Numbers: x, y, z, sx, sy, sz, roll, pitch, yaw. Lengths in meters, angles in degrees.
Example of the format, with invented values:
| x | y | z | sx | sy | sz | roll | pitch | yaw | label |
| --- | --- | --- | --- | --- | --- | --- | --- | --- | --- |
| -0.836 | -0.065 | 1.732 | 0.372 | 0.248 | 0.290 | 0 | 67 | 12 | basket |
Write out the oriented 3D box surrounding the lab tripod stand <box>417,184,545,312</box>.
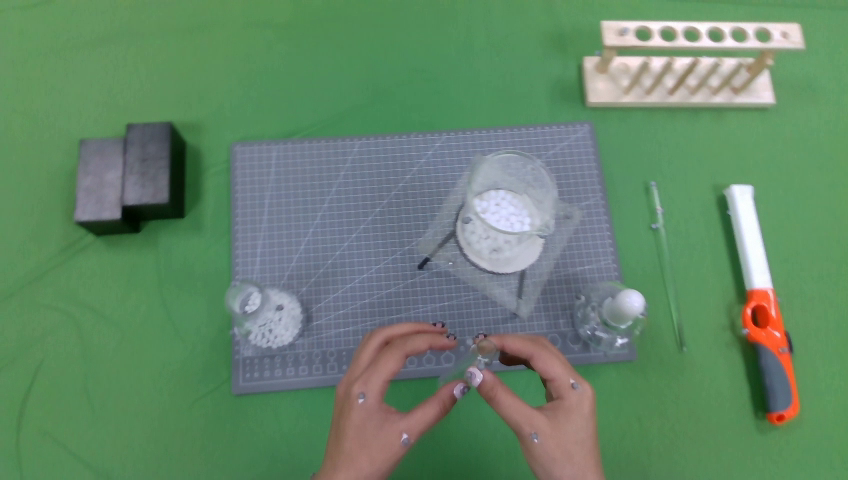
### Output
| x | y | z | sx | sy | sz | roll | pitch | yaw | label |
| --- | --- | --- | --- | --- | --- | --- | --- | --- | --- |
| 0.066 | 0.007 | 0.645 | 0.148 | 0.132 | 0.147 | 0 | 75 | -1 | lab tripod stand |

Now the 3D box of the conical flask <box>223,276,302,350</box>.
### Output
| x | y | z | sx | sy | sz | roll | pitch | yaw | label |
| --- | --- | --- | --- | --- | --- | --- | --- | --- | --- |
| -0.170 | 0.069 | 0.620 | 0.075 | 0.122 | 0.075 | 1 | 74 | -3 | conical flask |

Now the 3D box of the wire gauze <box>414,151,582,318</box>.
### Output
| x | y | z | sx | sy | sz | roll | pitch | yaw | label |
| --- | --- | --- | --- | --- | --- | --- | --- | --- | --- |
| 0.072 | -0.009 | 0.582 | 0.125 | 0.011 | 0.121 | 32 | 78 | 5 | wire gauze |

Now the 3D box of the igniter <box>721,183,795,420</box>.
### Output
| x | y | z | sx | sy | sz | roll | pitch | yaw | label |
| --- | --- | --- | --- | --- | --- | --- | --- | --- | --- |
| 0.387 | 0.065 | 0.704 | 0.057 | 0.025 | 0.275 | 1 | 74 | -14 | igniter |

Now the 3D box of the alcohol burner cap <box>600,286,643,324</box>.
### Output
| x | y | z | sx | sy | sz | roll | pitch | yaw | label |
| --- | --- | --- | --- | --- | --- | --- | --- | --- | --- |
| 0.201 | 0.063 | 0.609 | 0.034 | 0.048 | 0.033 | 2 | 67 | -5 | alcohol burner cap |

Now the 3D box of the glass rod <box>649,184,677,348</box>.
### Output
| x | y | z | sx | sy | sz | roll | pitch | yaw | label |
| --- | --- | --- | --- | --- | --- | --- | --- | --- | --- |
| 0.284 | 0.028 | 0.720 | 0.008 | 0.008 | 0.198 | -2 | 77 | -4 | glass rod |

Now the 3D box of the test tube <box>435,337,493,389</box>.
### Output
| x | y | z | sx | sy | sz | roll | pitch | yaw | label |
| --- | --- | --- | --- | --- | --- | --- | --- | --- | --- |
| 0.030 | 0.104 | 0.499 | 0.017 | 0.151 | 0.017 | 4 | 67 | -9 | test tube |

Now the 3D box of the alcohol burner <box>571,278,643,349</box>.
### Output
| x | y | z | sx | sy | sz | roll | pitch | yaw | label |
| --- | --- | --- | --- | --- | --- | --- | --- | --- | --- |
| 0.199 | 0.075 | 0.643 | 0.078 | 0.120 | 0.077 | 0 | 73 | 0 | alcohol burner |

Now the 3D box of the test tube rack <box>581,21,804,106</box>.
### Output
| x | y | z | sx | sy | sz | roll | pitch | yaw | label |
| --- | --- | --- | --- | --- | --- | --- | --- | --- | --- |
| 0.329 | -0.217 | 0.751 | 0.242 | 0.085 | 0.066 | 0 | 73 | -3 | test tube rack |

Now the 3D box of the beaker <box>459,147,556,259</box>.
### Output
| x | y | z | sx | sy | sz | roll | pitch | yaw | label |
| --- | --- | --- | --- | --- | --- | --- | --- | --- | --- |
| 0.071 | -0.025 | 0.536 | 0.074 | 0.100 | 0.083 | -42 | 80 | -12 | beaker |
